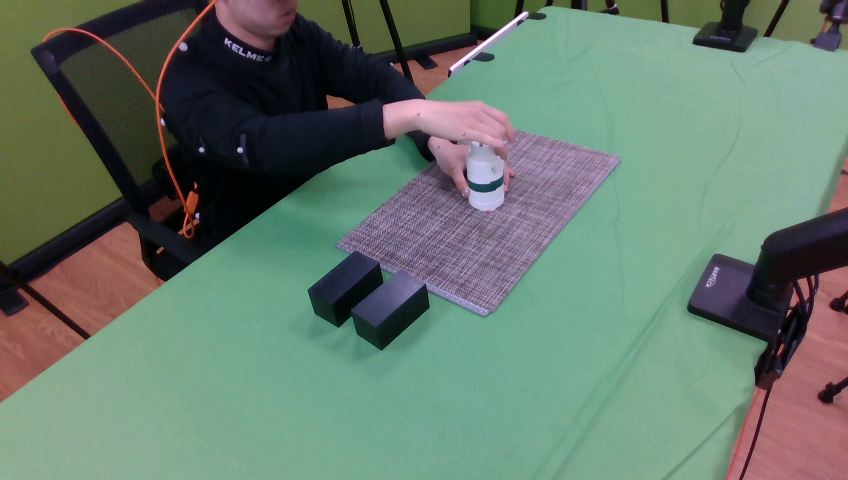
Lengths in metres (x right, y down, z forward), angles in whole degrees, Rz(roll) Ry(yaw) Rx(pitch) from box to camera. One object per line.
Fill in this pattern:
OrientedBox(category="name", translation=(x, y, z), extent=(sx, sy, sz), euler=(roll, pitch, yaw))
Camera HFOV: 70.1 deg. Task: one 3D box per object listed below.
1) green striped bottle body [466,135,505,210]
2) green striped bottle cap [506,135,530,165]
OrientedBox(category="green striped bottle body", translation=(0.102, -0.114, 1.005), extent=(0.063, 0.120, 0.063), euler=(-4, 41, 4))
OrientedBox(category="green striped bottle cap", translation=(0.145, -0.139, 0.937), extent=(0.020, 0.044, 0.044), euler=(13, 35, -21))
